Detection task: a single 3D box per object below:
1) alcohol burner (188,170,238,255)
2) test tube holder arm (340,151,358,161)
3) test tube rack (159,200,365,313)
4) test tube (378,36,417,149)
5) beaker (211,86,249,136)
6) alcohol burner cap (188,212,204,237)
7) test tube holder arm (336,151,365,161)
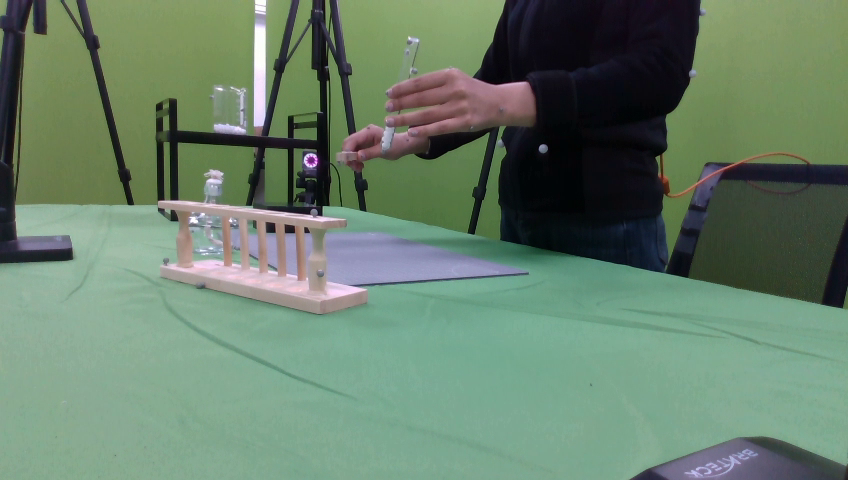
[{"bbox_3d":[-0.298,-0.039,0.852,0.078,0.119,0.078,3,6,0],"label":"alcohol burner"},{"bbox_3d":[-0.124,-0.139,0.999,0.010,0.015,0.088,10,10,6],"label":"test tube holder arm"},{"bbox_3d":[-0.173,0.008,0.624,0.241,0.085,0.067,7,9,34],"label":"test tube rack"},{"bbox_3d":[-0.035,-0.190,0.790,0.017,0.150,0.017,15,25,-7],"label":"test tube"},{"bbox_3d":[-0.413,-0.274,1.297,0.074,0.100,0.083,-5,11,-44],"label":"beaker"},{"bbox_3d":[-0.389,-0.029,1.025,0.034,0.048,0.034,2,9,0],"label":"alcohol burner cap"},{"bbox_3d":[-0.125,-0.147,1.044,0.013,0.015,0.178,10,10,3],"label":"test tube holder arm"}]
